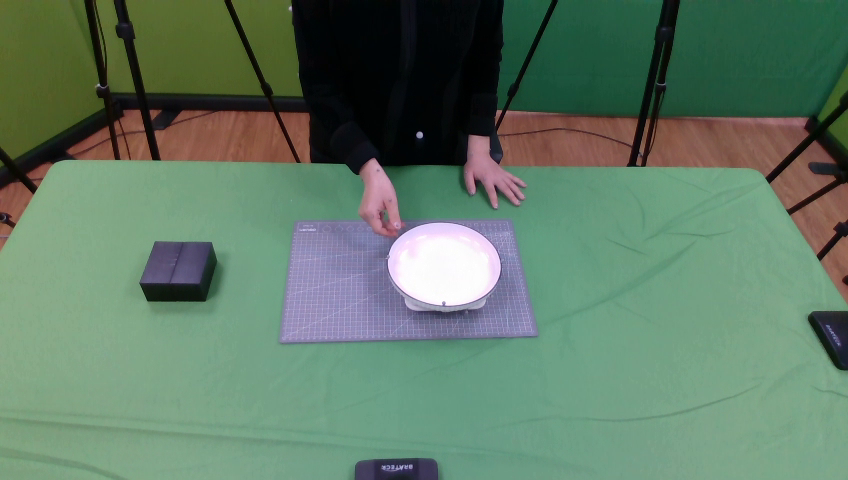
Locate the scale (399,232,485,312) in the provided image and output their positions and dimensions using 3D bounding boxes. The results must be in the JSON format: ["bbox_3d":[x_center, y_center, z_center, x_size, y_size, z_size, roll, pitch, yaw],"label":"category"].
[{"bbox_3d":[0.031,0.050,1.141,0.149,0.032,0.199,-1,46,-6],"label":"scale"}]

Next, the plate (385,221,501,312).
[{"bbox_3d":[0.034,0.050,1.096,0.209,0.038,0.208,2,46,-2],"label":"plate"}]
